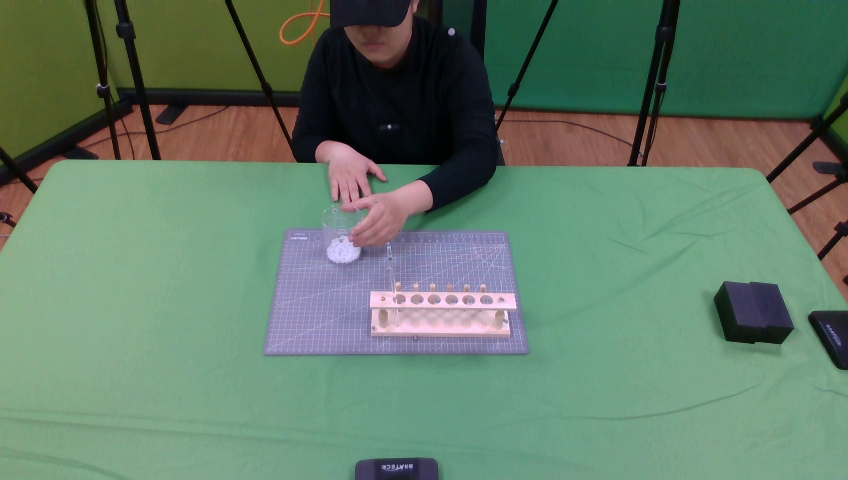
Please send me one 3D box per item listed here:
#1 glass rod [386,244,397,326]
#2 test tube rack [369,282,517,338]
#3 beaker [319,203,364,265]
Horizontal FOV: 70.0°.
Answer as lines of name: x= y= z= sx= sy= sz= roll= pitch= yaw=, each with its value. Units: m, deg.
glass rod: x=-0.052 y=0.078 z=0.979 sx=0.008 sy=0.201 sz=0.008 roll=-1 pitch=45 yaw=1
test tube rack: x=0.030 y=0.116 z=1.041 sx=0.242 sy=0.085 sz=0.066 roll=1 pitch=46 yaw=-3
beaker: x=-0.152 y=-0.009 z=1.138 sx=0.084 sy=0.101 sz=0.073 roll=-13 pitch=49 yaw=-16
